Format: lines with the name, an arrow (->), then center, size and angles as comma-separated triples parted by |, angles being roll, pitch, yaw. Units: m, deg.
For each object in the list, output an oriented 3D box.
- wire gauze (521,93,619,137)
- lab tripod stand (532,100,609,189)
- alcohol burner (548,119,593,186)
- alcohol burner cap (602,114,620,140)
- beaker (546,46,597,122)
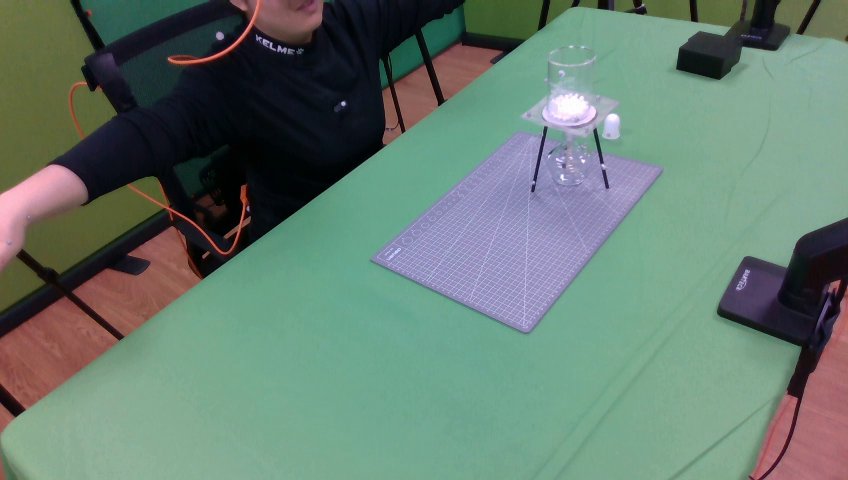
wire gauze -> 0.240, -0.212, 0.995 | 0.124, 0.011, 0.122 | 22, 46, 34
lab tripod stand -> 0.251, -0.161, 1.034 | 0.148, 0.132, 0.147 | -4, 39, 4
alcohol burner -> 0.252, -0.154, 1.042 | 0.078, 0.120, 0.077 | -7, 40, 7
alcohol burner cap -> 0.359, -0.217, 1.157 | 0.034, 0.048, 0.033 | -7, 40, 6
beaker -> 0.229, -0.246, 0.962 | 0.083, 0.101, 0.074 | 25, 49, 34
